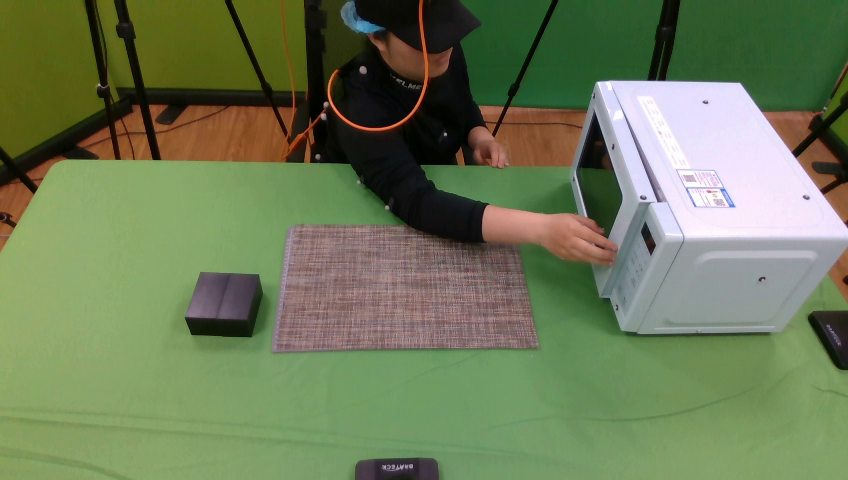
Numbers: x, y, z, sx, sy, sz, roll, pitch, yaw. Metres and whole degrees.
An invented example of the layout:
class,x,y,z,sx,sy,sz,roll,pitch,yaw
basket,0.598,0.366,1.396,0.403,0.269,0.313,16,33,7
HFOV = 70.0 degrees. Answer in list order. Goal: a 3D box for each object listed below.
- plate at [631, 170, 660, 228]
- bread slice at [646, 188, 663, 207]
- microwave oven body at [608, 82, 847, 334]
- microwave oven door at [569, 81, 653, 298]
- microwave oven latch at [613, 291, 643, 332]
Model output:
class,x,y,z,sx,sy,sz,roll,pitch,yaw
plate,0.490,-0.061,1.193,0.209,0.038,0.208,2,45,-2
bread slice,0.495,-0.057,1.196,0.105,0.019,0.131,7,43,4
microwave oven body,0.501,-0.069,1.132,0.326,0.261,0.438,-1,45,-4
microwave oven door,0.344,-0.103,1.146,0.039,0.245,0.353,2,46,-2
microwave oven latch,0.358,0.125,1.068,0.030,0.029,0.078,1,45,-2
